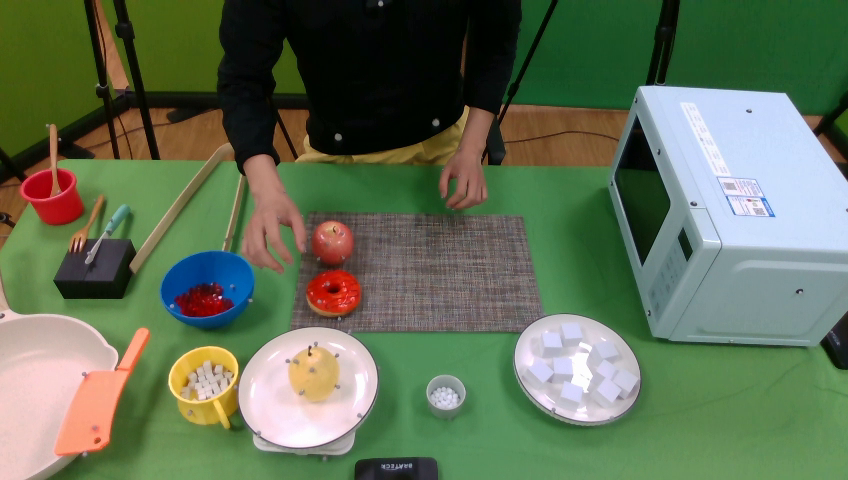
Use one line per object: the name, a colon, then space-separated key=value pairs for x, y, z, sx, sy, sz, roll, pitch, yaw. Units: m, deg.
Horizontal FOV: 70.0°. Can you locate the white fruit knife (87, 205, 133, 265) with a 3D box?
white fruit knife: x=-0.584 y=-0.013 z=1.129 sx=0.016 sy=0.027 sz=0.206 roll=-1 pitch=31 yaw=-4

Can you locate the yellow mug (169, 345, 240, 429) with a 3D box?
yellow mug: x=-0.323 y=0.230 z=0.922 sx=0.100 sy=0.064 sz=0.130 roll=-24 pitch=53 yaw=-25

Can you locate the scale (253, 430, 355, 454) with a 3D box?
scale: x=-0.175 y=0.236 z=0.951 sx=0.149 sy=0.032 sz=0.199 roll=4 pitch=45 yaw=0

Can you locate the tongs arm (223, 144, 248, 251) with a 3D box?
tongs arm: x=-0.397 y=-0.073 z=1.232 sx=0.051 sy=0.027 sz=0.382 roll=-3 pitch=45 yaw=1

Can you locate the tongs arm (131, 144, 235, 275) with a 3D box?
tongs arm: x=-0.484 y=-0.076 z=1.236 sx=0.028 sy=0.028 sz=0.385 roll=5 pitch=45 yaw=13

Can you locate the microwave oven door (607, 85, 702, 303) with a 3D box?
microwave oven door: x=0.423 y=-0.094 z=1.140 sx=0.039 sy=0.245 sz=0.353 roll=2 pitch=46 yaw=-1

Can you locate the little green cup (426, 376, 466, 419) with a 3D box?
little green cup: x=0.033 y=0.248 z=0.950 sx=0.061 sy=0.039 sz=0.061 roll=2 pitch=46 yaw=-2

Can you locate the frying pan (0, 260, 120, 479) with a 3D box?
frying pan: x=-0.647 y=0.164 z=0.936 sx=0.307 sy=0.103 sz=0.485 roll=-19 pitch=58 yaw=-22

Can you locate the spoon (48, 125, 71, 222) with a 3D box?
spoon: x=-0.718 y=-0.131 z=1.188 sx=0.041 sy=0.021 sz=0.193 roll=-3 pitch=90 yaw=-7

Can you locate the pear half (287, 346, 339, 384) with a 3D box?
pear half: x=-0.164 y=0.179 z=0.900 sx=0.076 sy=0.110 sz=0.055 roll=1 pitch=46 yaw=-7

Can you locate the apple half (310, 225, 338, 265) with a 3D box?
apple half: x=-0.193 y=0.017 z=1.125 sx=0.033 sy=0.081 sz=0.081 roll=-26 pitch=53 yaw=-31

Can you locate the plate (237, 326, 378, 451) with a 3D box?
plate: x=-0.174 y=0.224 z=0.917 sx=0.209 sy=0.038 sz=0.208 roll=2 pitch=46 yaw=-2

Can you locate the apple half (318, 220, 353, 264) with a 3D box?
apple half: x=-0.162 y=0.001 z=1.144 sx=0.053 sy=0.075 sz=0.080 roll=-25 pitch=50 yaw=-29

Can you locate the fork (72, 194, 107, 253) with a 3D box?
fork: x=-0.634 y=-0.036 z=1.158 sx=0.028 sy=0.019 sz=0.206 roll=-6 pitch=31 yaw=-10

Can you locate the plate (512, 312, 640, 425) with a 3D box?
plate: x=0.246 y=0.213 z=0.999 sx=0.208 sy=0.039 sz=0.206 roll=2 pitch=46 yaw=-2

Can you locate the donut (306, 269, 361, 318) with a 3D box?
donut: x=-0.160 y=0.095 z=1.075 sx=0.099 sy=0.048 sz=0.098 roll=4 pitch=45 yaw=-3

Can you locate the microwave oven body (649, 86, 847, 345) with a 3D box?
microwave oven body: x=0.567 y=-0.053 z=1.118 sx=0.326 sy=0.261 sz=0.439 roll=2 pitch=45 yaw=-1

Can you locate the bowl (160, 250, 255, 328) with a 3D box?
bowl: x=-0.362 y=0.098 z=1.040 sx=0.151 sy=0.077 sz=0.150 roll=2 pitch=45 yaw=-2

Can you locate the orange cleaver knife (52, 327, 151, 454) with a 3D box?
orange cleaver knife: x=-0.462 y=0.212 z=0.879 sx=0.077 sy=0.012 sz=0.210 roll=6 pitch=45 yaw=-1

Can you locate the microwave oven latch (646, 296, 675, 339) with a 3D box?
microwave oven latch: x=0.412 y=0.134 z=1.061 sx=0.030 sy=0.029 sz=0.078 roll=4 pitch=45 yaw=1

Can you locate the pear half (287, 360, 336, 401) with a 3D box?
pear half: x=-0.164 y=0.211 z=0.882 sx=0.070 sy=0.088 sz=0.031 roll=-1 pitch=46 yaw=-7
